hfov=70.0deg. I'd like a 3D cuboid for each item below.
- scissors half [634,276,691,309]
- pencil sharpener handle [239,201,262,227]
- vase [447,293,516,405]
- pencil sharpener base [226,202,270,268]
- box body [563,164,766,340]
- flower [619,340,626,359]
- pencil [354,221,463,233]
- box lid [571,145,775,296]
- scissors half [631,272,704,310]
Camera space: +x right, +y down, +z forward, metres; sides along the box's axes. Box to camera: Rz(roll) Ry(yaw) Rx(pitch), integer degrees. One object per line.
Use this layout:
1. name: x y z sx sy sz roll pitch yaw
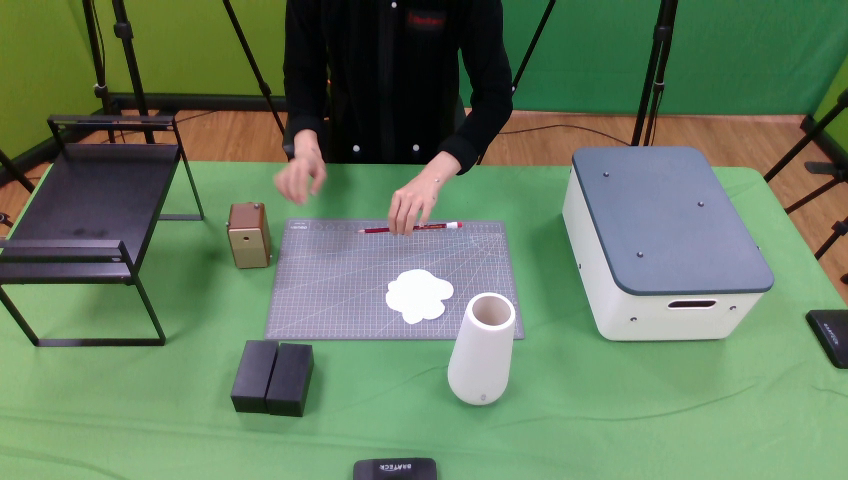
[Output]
1. scissors half: 0.454 0.096 1.144 0.175 0.040 0.013 -20 89 -31
2. pencil sharpener handle: -0.325 -0.056 1.149 0.036 0.068 0.030 -13 46 4
3. vase: 0.091 0.168 0.921 0.098 0.201 0.097 3 47 -3
4. pencil sharpener base: -0.323 -0.010 1.123 0.061 0.107 0.076 -3 46 -7
5. box body: 0.421 0.003 1.130 0.254 0.161 0.361 0 46 -5
6. flower: 0.416 0.065 1.186 0.038 0.044 0.360 29 64 -20
7. pencil: -0.027 -0.022 1.078 0.194 0.012 0.012 -4 47 -6
8. box lid: 0.424 -0.048 1.074 0.263 0.015 0.369 -1 46 -4
9. scissors half: 0.460 0.092 1.132 0.175 0.040 0.013 -22 83 -21
